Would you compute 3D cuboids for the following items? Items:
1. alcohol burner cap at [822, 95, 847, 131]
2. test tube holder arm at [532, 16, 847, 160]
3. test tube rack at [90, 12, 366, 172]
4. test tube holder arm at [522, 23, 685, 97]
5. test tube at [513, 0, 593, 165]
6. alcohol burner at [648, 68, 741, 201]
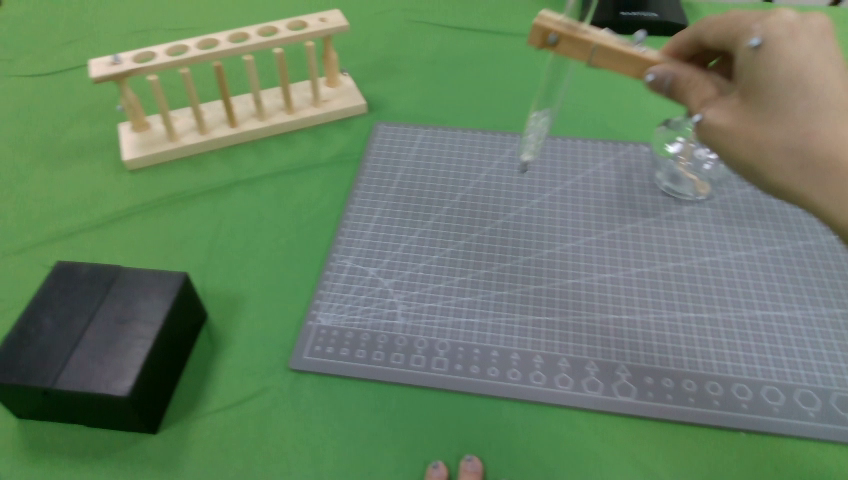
[{"bbox_3d":[0.413,-0.119,0.597,0.034,0.048,0.033,-1,47,2],"label":"alcohol burner cap"},{"bbox_3d":[0.139,-0.084,0.325,0.178,0.015,0.013,25,47,12],"label":"test tube holder arm"},{"bbox_3d":[-0.186,-0.150,0.604,0.243,0.086,0.066,-17,49,-15],"label":"test tube rack"},{"bbox_3d":[0.096,-0.098,0.330,0.087,0.015,0.010,20,45,7],"label":"test tube holder arm"},{"bbox_3d":[0.076,-0.104,0.341,0.017,0.151,0.017,7,43,-6],"label":"test tube"},{"bbox_3d":[0.238,-0.093,0.522,0.078,0.120,0.077,0,45,0],"label":"alcohol burner"}]
